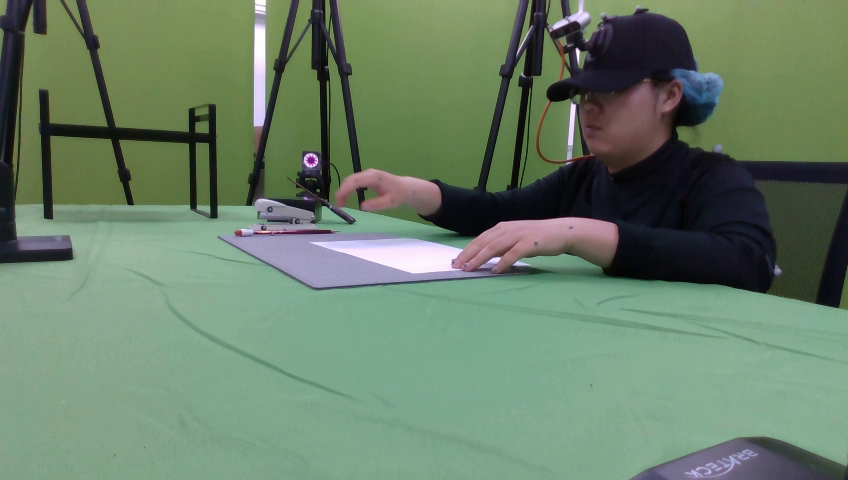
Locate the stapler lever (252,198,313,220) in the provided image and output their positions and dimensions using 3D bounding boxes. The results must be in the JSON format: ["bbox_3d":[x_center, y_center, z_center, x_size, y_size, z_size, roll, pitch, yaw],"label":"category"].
[{"bbox_3d":[-0.273,-0.058,1.170,0.119,0.040,0.026,0,10,-37],"label":"stapler lever"}]

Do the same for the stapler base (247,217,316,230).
[{"bbox_3d":[-0.276,-0.033,1.172,0.131,0.024,0.041,0,10,-37],"label":"stapler base"}]

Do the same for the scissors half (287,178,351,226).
[{"bbox_3d":[-0.232,-0.085,1.317,0.175,0.013,0.040,38,20,4],"label":"scissors half"}]

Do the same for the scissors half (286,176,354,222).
[{"bbox_3d":[-0.229,-0.091,1.337,0.175,0.013,0.040,33,15,-13],"label":"scissors half"}]

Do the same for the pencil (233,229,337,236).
[{"bbox_3d":[-0.240,-0.013,1.065,0.195,0.012,0.012,0,8,-37],"label":"pencil"}]
